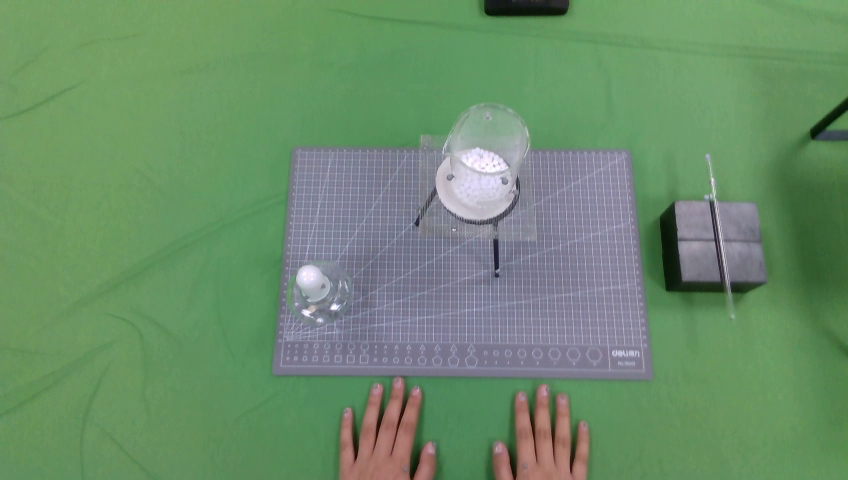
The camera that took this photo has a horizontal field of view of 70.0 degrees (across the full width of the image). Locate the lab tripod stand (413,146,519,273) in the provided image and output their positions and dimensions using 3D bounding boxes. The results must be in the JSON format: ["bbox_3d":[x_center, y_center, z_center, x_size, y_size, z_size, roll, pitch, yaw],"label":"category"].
[{"bbox_3d":[0.058,-0.045,0.711,0.148,0.132,0.147,0,70,1],"label":"lab tripod stand"}]

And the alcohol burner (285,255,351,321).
[{"bbox_3d":[-0.123,0.051,0.690,0.078,0.119,0.077,0,74,-1],"label":"alcohol burner"}]

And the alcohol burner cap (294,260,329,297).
[{"bbox_3d":[-0.124,0.040,0.655,0.034,0.048,0.033,-1,67,3],"label":"alcohol burner cap"}]

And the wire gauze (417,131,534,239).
[{"bbox_3d":[0.055,-0.062,0.647,0.125,0.011,0.120,2,73,-2],"label":"wire gauze"}]

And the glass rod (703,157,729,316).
[{"bbox_3d":[0.346,-0.008,0.719,0.008,0.008,0.198,1,73,0],"label":"glass rod"}]

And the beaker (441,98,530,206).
[{"bbox_3d":[0.057,-0.081,0.603,0.084,0.101,0.073,-15,72,-5],"label":"beaker"}]
